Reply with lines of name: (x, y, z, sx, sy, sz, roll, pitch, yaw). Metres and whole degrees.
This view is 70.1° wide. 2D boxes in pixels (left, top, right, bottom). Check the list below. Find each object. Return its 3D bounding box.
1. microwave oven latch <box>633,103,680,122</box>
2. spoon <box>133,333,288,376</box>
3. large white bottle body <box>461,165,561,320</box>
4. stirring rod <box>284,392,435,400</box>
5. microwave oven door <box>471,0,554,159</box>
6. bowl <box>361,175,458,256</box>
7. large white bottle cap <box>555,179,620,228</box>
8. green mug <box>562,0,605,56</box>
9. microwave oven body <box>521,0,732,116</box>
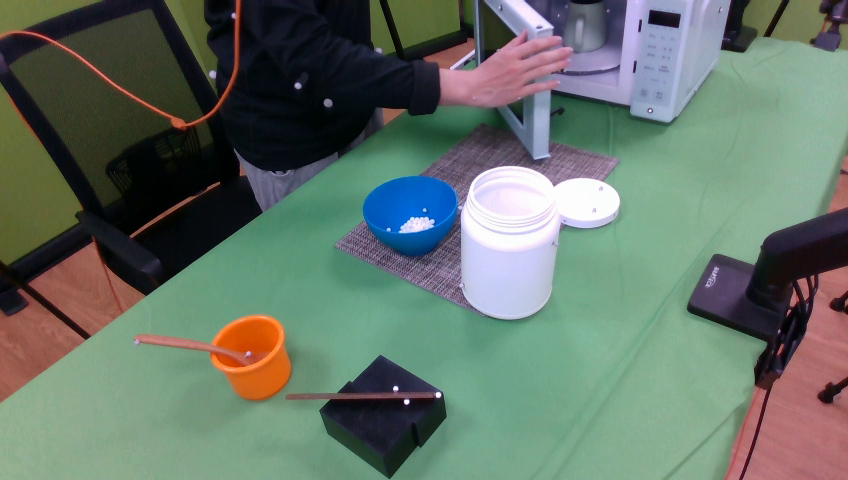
microwave oven latch: (0.443, -0.249, 1.157, 0.078, 0.029, 0.030, 21, 49, 30)
spoon: (-0.257, 0.137, 0.747, 0.021, 0.195, 0.041, -46, 40, 23)
large white bottle body: (0.115, 0.003, 0.815, 0.130, 0.185, 0.130, -2, 43, 2)
stirring rod: (-0.075, 0.180, 0.698, 0.176, 0.006, 0.014, -2, 6, 7)
microwave oven door: (0.163, -0.347, 1.155, 0.039, 0.245, 0.353, -14, 41, -8)
bowl: (-0.019, -0.028, 0.955, 0.151, 0.077, 0.150, -4, 40, 4)
large white bottle cap: (0.265, -0.062, 1.001, 0.115, 0.018, 0.114, -3, 41, 4)
green mug: (0.336, -0.450, 1.292, 0.092, 0.105, 0.125, 6, 50, 22)
microwave oven body: (0.377, -0.463, 1.267, 0.438, 0.261, 0.327, 21, 48, 30)
